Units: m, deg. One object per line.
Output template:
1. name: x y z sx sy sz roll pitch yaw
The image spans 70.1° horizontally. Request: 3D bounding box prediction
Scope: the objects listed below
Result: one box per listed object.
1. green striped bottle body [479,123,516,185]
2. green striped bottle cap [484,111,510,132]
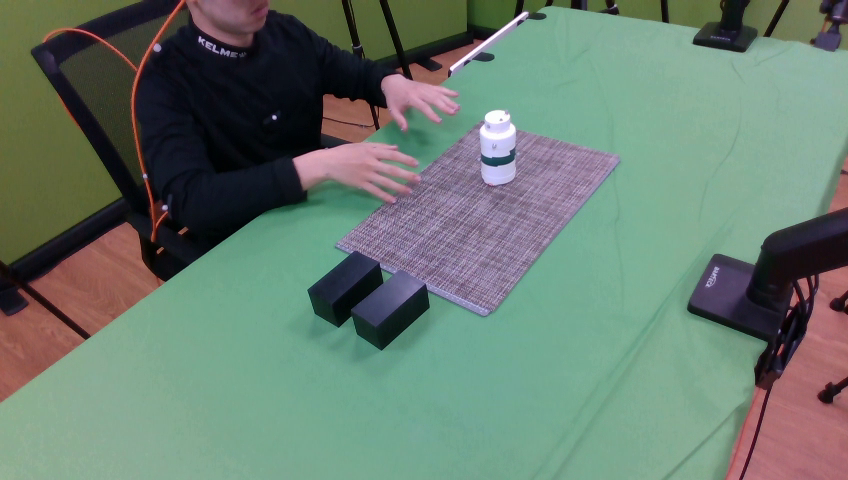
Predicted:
1. green striped bottle body: 0.129 -0.162 1.058 0.063 0.120 0.063 -4 41 4
2. green striped bottle cap: 0.123 -0.201 1.024 0.044 0.020 0.044 -4 38 3
